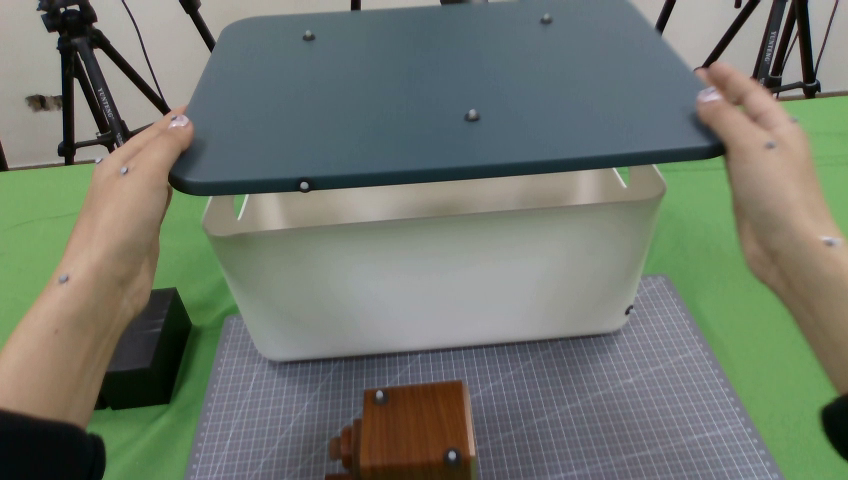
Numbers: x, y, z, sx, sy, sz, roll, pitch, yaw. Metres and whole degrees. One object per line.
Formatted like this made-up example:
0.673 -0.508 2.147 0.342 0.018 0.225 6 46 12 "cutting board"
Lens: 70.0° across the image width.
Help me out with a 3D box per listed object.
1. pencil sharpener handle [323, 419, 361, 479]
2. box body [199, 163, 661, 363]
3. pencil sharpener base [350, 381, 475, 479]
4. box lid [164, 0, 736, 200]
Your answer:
-0.057 0.148 0.403 0.030 0.068 0.035 -5 40 1 "pencil sharpener handle"
0.006 -0.028 0.598 0.364 0.162 0.251 -5 37 -1 "box body"
-0.005 0.153 0.411 0.077 0.108 0.061 -5 39 1 "pencil sharpener base"
0.009 -0.125 0.465 0.372 0.015 0.260 -5 41 -2 "box lid"
